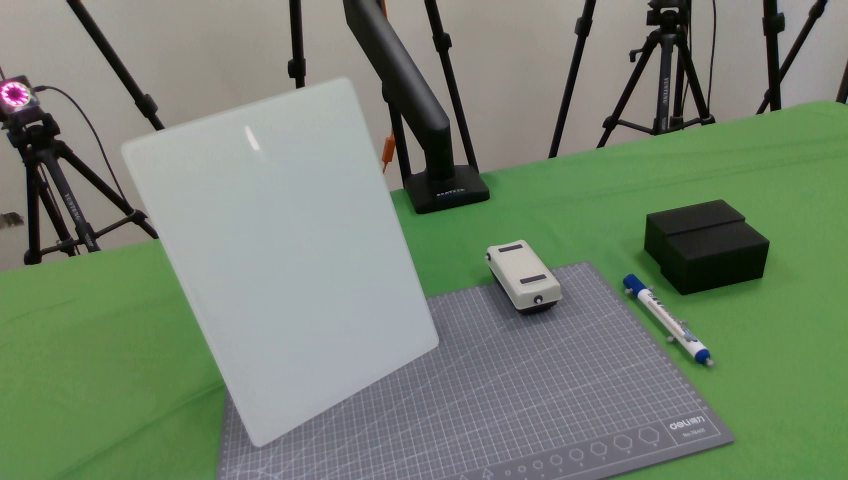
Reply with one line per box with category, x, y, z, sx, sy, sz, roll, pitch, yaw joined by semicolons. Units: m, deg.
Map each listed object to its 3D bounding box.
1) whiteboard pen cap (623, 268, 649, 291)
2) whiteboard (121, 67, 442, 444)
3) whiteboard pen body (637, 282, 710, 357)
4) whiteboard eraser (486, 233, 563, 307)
whiteboard pen cap;0.247;0.047;0.702;0.018;0.018;0.033;-14;31;-8
whiteboard;-0.146;0.007;0.637;0.217;0.307;0.143;-25;17;-24
whiteboard pen body;0.261;0.077;0.654;0.017;0.017;0.139;-13;32;-8
whiteboard eraser;0.117;0.036;0.722;0.055;0.042;0.111;-15;33;-8
